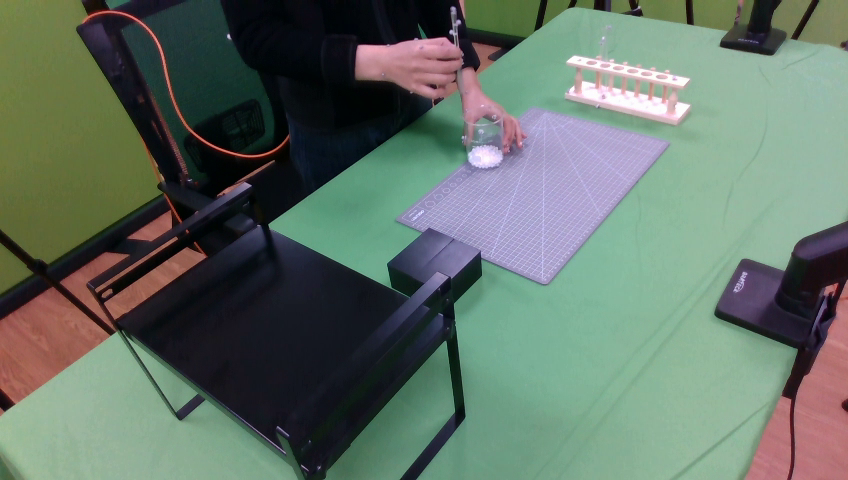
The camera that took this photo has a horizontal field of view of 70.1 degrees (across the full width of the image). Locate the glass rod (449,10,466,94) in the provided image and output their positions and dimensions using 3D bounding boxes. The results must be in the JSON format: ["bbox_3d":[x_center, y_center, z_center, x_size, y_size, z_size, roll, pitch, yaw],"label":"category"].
[{"bbox_3d":[0.056,-0.302,0.991,0.008,0.201,0.008,-4,66,9],"label":"glass rod"}]

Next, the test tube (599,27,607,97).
[{"bbox_3d":[0.358,-0.353,1.210,0.017,0.151,0.017,-8,43,8],"label":"test tube"}]

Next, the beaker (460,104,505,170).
[{"bbox_3d":[0.109,-0.188,1.117,0.083,0.101,0.074,8,42,19],"label":"beaker"}]

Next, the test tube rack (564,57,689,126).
[{"bbox_3d":[0.411,-0.311,1.230,0.240,0.085,0.067,24,49,32],"label":"test tube rack"}]
